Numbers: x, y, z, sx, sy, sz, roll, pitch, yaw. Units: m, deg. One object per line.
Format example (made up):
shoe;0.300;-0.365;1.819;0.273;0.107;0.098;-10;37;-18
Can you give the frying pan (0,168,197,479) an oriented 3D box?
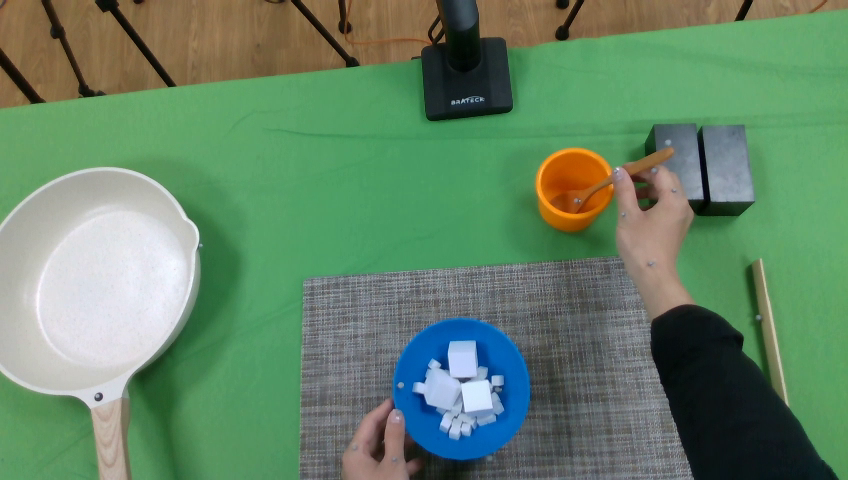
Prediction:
frying pan;-0.393;0.140;0.733;0.307;0.103;0.483;-20;64;1

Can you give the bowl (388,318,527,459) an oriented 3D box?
bowl;0.039;0.168;0.688;0.151;0.077;0.150;-2;73;6

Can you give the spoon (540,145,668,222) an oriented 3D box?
spoon;0.199;-0.064;0.694;0.022;0.193;0.041;8;70;-25

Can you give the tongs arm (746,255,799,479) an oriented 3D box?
tongs arm;0.405;0.204;0.671;0.028;0.028;0.385;-5;73;3
